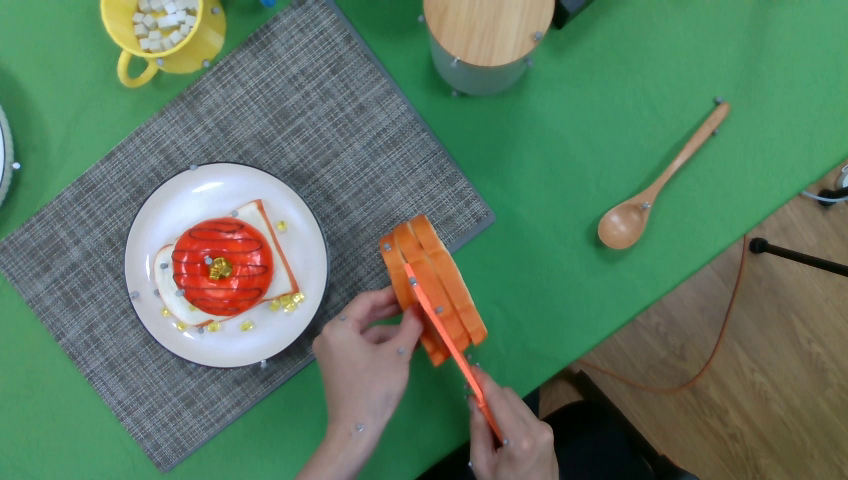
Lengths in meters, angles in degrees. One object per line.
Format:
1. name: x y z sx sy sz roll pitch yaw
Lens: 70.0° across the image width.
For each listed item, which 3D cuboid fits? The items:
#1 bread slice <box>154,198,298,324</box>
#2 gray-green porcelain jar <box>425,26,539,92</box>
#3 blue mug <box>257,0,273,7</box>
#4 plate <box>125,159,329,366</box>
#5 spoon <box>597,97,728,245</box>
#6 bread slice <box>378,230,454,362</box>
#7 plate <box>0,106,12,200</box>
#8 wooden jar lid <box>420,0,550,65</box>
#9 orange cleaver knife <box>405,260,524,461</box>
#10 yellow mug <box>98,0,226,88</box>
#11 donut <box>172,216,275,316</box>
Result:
1. bread slice: -0.210 0.029 0.628 0.131 0.019 0.105 -25 90 -1
2. gray-green porcelain jar: 0.054 -0.200 0.569 0.106 0.126 0.106 0 91 2
3. blue mug: -0.172 -0.284 0.582 0.082 0.106 0.116 -18 91 2
4. plate: -0.198 0.023 0.624 0.209 0.038 0.209 0 92 2
5. spoon: 0.248 -0.071 0.619 0.041 0.022 0.194 41 93 18
6. bread slice: -0.005 0.052 0.593 0.018 0.107 0.134 -29 85 1
7. plate: -0.528 -0.093 0.633 0.207 0.039 0.207 0 92 2
8. wooden jar lid: 0.051 -0.199 0.506 0.108 0.020 0.108 0 93 -1
9. orange cleaver knife: 0.037 0.112 0.556 0.012 0.076 0.212 -29 108 2
10. yellow mug: -0.267 -0.211 0.607 0.100 0.064 0.131 30 94 1
11. donut: -0.196 0.025 0.596 0.099 0.048 0.099 0 92 -2
